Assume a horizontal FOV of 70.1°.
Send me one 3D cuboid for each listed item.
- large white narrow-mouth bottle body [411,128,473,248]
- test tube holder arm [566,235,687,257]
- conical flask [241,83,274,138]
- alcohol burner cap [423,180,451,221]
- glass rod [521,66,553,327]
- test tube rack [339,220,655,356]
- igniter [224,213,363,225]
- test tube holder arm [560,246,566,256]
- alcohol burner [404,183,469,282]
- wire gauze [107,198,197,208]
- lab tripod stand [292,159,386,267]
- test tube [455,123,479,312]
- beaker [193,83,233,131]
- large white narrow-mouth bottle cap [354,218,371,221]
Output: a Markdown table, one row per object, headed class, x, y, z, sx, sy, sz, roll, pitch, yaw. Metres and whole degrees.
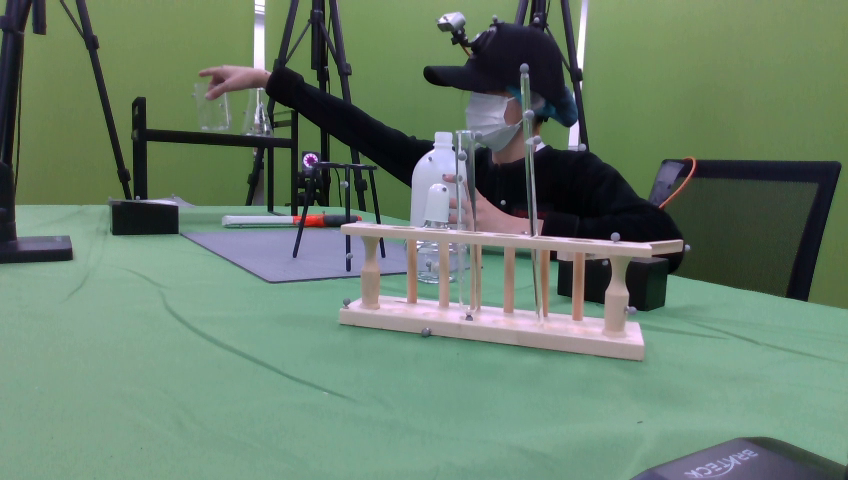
| class | x | y | z | sx | sy | sz | roll | pitch | yaw |
| --- | --- | --- | --- | --- | --- | --- | --- | --- | --- |
| large white narrow-mouth bottle body | 0.032 | -0.088 | 1.004 | 0.102 | 0.194 | 0.102 | 2 | 8 | 0 |
| test tube holder arm | 0.215 | 0.006 | 0.629 | 0.179 | 0.015 | 0.013 | -3 | 9 | -30 |
| conical flask | -0.384 | -0.297 | 1.394 | 0.075 | 0.122 | 0.075 | 2 | 8 | 0 |
| alcohol burner cap | 0.017 | -0.047 | 0.711 | 0.034 | 0.048 | 0.034 | 8 | 5 | 0 |
| glass rod | 0.085 | -0.028 | 0.454 | 0.008 | 0.199 | 0.008 | -7 | 10 | 2 |
| test tube rack | 0.056 | 0.032 | 0.495 | 0.242 | 0.085 | 0.067 | 4 | 7 | 15 |
| igniter | -0.255 | -0.041 | 1.210 | 0.278 | 0.025 | 0.057 | -2 | -3 | -31 |
| test tube holder arm | 0.173 | 0.007 | 0.611 | 0.088 | 0.015 | 0.010 | -3 | 9 | -30 |
| alcohol burner | 0.015 | -0.011 | 0.715 | 0.078 | 0.119 | 0.078 | 0 | 7 | 0 |
| wire gauze | -0.462 | -0.064 | 1.023 | 0.126 | 0.011 | 0.121 | -2 | 7 | -32 |
| lab tripod stand | -0.105 | -0.039 | 0.798 | 0.148 | 0.131 | 0.148 | 2 | 5 | 0 |
| test tube | 0.034 | -0.016 | 0.476 | 0.017 | 0.150 | 0.017 | -2 | 10 | 1 |
| beaker | -0.461 | -0.292 | 1.331 | 0.074 | 0.100 | 0.083 | -12 | 17 | -33 |
| large white narrow-mouth bottle cap | -0.120 | -0.029 | 1.184 | 0.038 | 0.024 | 0.037 | 2 | 8 | 0 |
